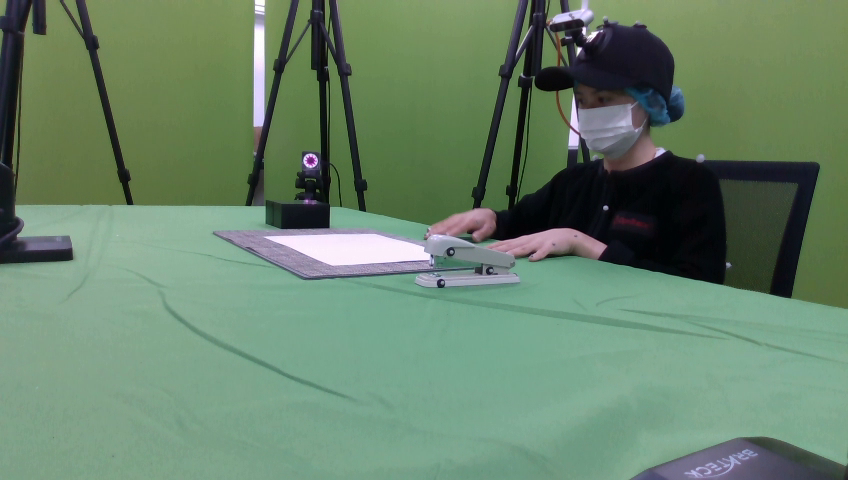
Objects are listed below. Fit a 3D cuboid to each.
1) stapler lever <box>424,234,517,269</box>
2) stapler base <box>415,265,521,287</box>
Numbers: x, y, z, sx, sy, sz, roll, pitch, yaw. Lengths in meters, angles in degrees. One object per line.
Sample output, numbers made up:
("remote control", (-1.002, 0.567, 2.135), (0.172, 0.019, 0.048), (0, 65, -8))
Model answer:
("stapler lever", (0.056, 0.014, 0.714), (0.119, 0.040, 0.026), (1, 9, -27))
("stapler base", (0.053, 0.039, 0.716), (0.131, 0.024, 0.041), (1, 9, -27))
